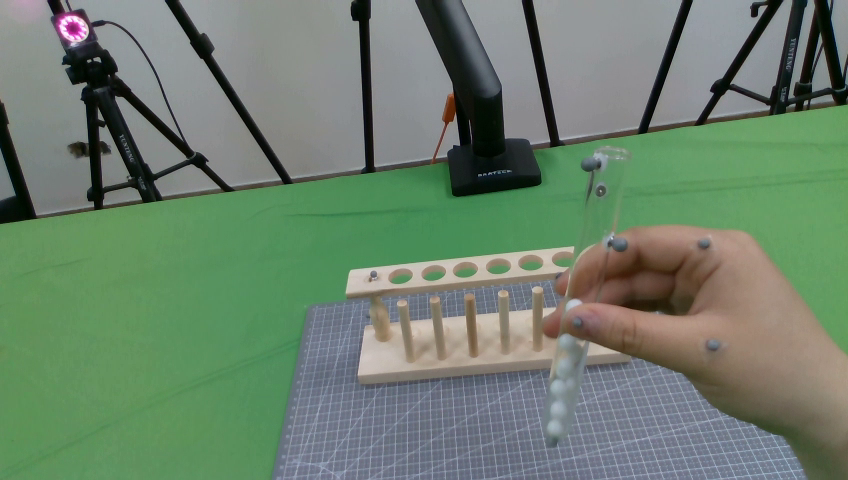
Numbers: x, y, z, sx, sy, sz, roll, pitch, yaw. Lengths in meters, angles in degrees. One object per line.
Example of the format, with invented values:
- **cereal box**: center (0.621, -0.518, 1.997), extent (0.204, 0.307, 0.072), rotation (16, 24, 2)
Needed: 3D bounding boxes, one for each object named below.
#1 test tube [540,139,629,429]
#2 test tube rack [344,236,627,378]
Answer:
- **test tube**: center (0.071, 0.028, 0.278), extent (0.017, 0.151, 0.017), rotation (3, 26, -1)
- **test tube rack**: center (0.055, 0.062, 0.547), extent (0.242, 0.086, 0.066), rotation (-6, 37, 5)
